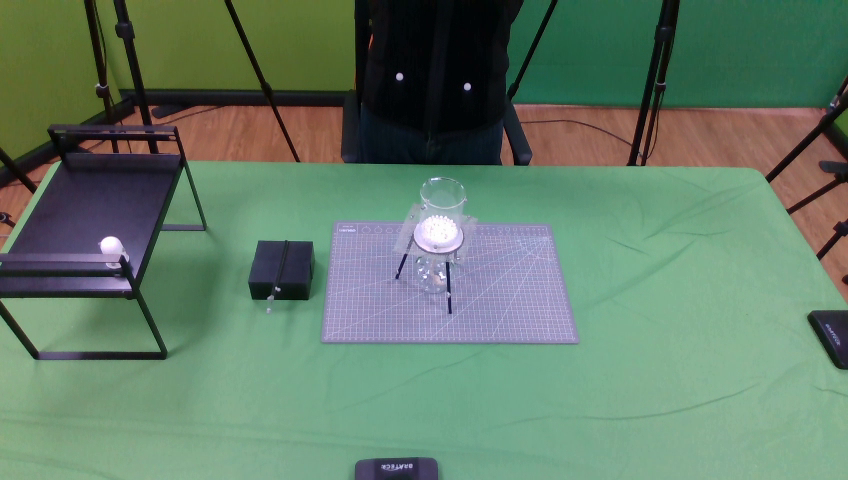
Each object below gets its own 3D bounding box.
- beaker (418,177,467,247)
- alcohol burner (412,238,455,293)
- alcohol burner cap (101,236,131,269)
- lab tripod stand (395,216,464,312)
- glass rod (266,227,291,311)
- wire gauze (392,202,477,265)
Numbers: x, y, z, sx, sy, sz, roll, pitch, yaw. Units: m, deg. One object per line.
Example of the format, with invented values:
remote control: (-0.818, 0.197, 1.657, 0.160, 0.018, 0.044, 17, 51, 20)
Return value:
beaker: (0.026, -0.045, 1.004, 0.074, 0.101, 0.083, -20, 51, -22)
alcohol burner: (0.019, 0.040, 1.094, 0.078, 0.119, 0.077, 4, 45, -3)
alcohol burner cap: (-0.452, 0.016, 0.883, 0.034, 0.048, 0.033, 2, 47, -1)
lab tripod stand: (0.023, 0.037, 1.084, 0.148, 0.132, 0.147, 4, 47, -4)
glass rod: (-0.257, 0.047, 1.076, 0.008, 0.008, 0.198, 3, 46, -1)
wire gauze: (0.021, -0.011, 1.037, 0.121, 0.011, 0.124, 13, 49, 8)
